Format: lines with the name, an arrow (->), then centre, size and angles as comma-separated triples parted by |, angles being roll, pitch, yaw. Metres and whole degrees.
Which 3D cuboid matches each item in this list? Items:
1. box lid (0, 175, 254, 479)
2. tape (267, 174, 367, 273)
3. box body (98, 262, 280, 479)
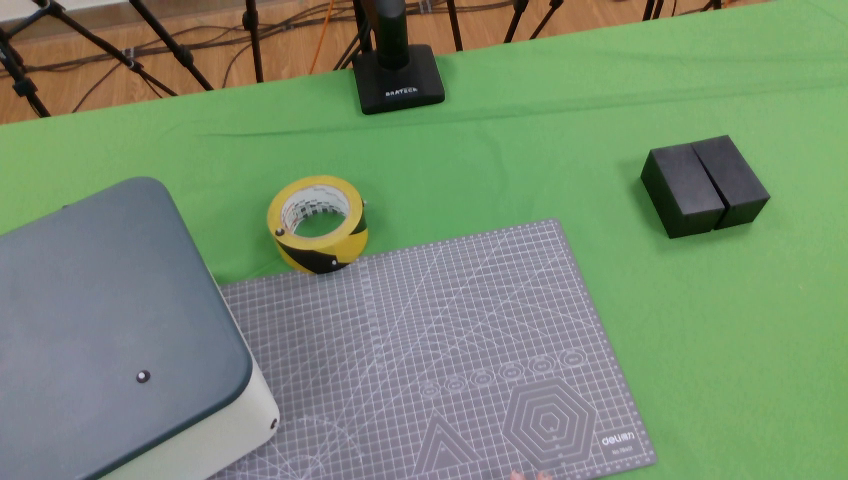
box lid -> -0.348, 0.104, 0.493 | 0.372, 0.015, 0.260 | -29, 62, -15
tape -> -0.127, -0.021, 0.720 | 0.117, 0.053, 0.115 | -1, 55, 2
box body -> -0.347, 0.145, 0.556 | 0.364, 0.162, 0.251 | -29, 61, -15
